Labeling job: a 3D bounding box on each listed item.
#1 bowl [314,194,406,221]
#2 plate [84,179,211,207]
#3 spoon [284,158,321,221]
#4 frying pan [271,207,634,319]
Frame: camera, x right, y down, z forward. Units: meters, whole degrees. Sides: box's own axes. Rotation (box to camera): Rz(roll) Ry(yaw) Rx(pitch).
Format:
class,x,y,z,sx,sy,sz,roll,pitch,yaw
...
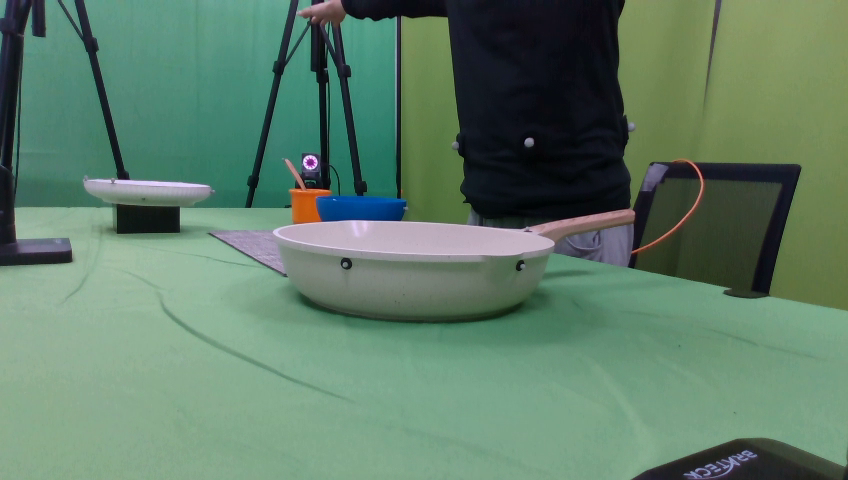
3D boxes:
class,x,y,z,sx,sy,sz,roll,pitch,yaw
bowl,-0.105,-0.032,0.991,0.151,0.077,0.151,3,7,0
plate,-0.495,-0.085,1.093,0.208,0.039,0.207,4,7,0
spoon,-0.269,-0.113,1.335,0.042,0.193,0.021,-3,-35,-43
frying pan,0.076,0.003,0.695,0.490,0.102,0.305,-12,14,-30
